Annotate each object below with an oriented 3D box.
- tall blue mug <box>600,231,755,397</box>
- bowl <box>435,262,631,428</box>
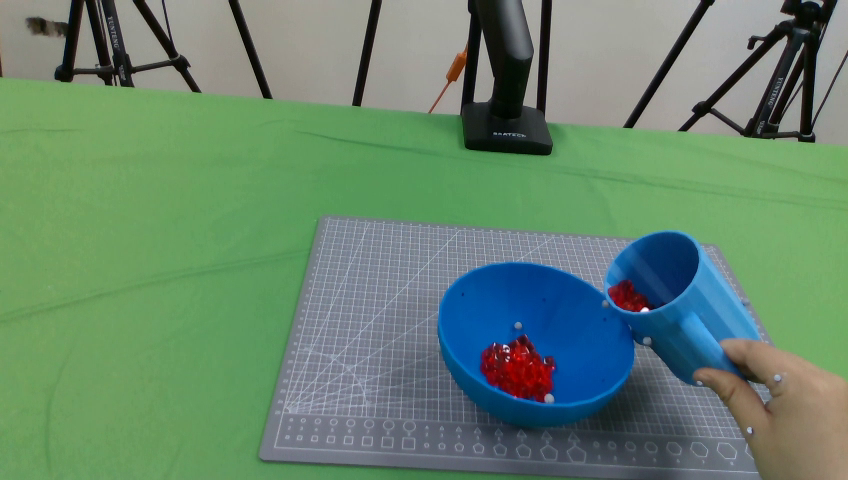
[{"bbox_3d":[0.204,0.059,0.459,0.077,0.109,0.106,-51,29,-8],"label":"tall blue mug"},{"bbox_3d":[0.079,0.095,0.483,0.151,0.077,0.150,4,38,-3],"label":"bowl"}]
